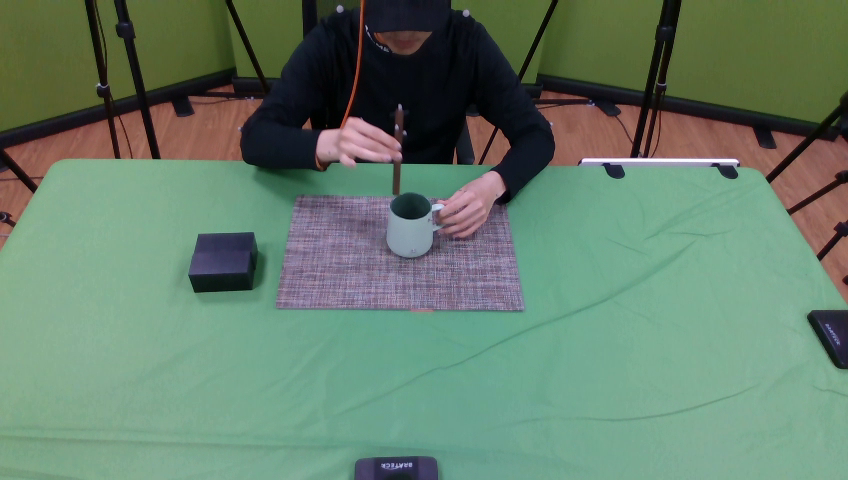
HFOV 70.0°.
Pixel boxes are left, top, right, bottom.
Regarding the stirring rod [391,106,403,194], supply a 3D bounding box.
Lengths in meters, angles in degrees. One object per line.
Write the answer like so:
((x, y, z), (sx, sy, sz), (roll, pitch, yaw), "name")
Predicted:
((-0.048, -0.154, 1.061), (0.014, 0.177, 0.006), (4, 39, -1), "stirring rod")

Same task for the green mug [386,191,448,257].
((-0.012, -0.034, 1.165), (0.125, 0.105, 0.092), (-17, 49, -19), "green mug")
